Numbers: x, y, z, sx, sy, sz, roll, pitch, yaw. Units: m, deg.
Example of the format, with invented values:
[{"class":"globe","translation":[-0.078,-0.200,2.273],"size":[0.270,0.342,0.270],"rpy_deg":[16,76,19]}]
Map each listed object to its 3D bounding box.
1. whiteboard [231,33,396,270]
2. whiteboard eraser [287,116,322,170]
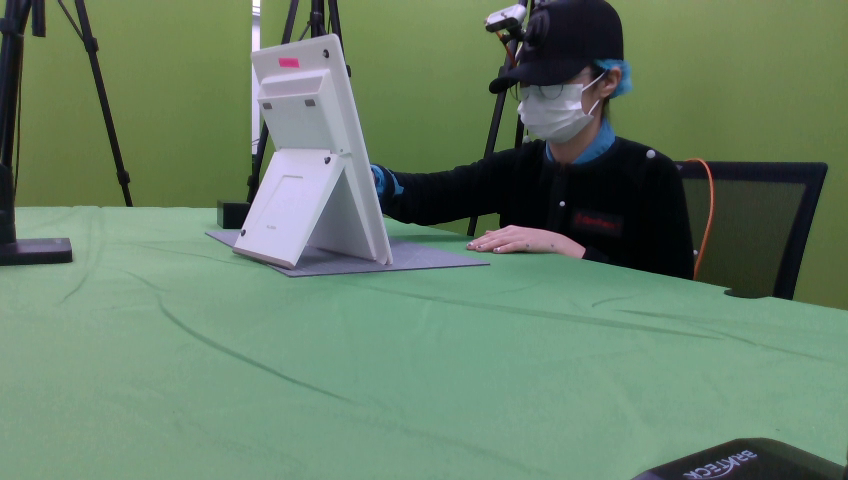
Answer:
[{"class":"whiteboard","translation":[-0.193,-0.094,0.805],"size":[0.144,0.305,0.216],"rpy_deg":[-29,25,-35]},{"class":"whiteboard eraser","translation":[-0.174,-0.139,0.877],"size":[0.019,0.041,0.101],"rpy_deg":[-29,-13,-38]}]
